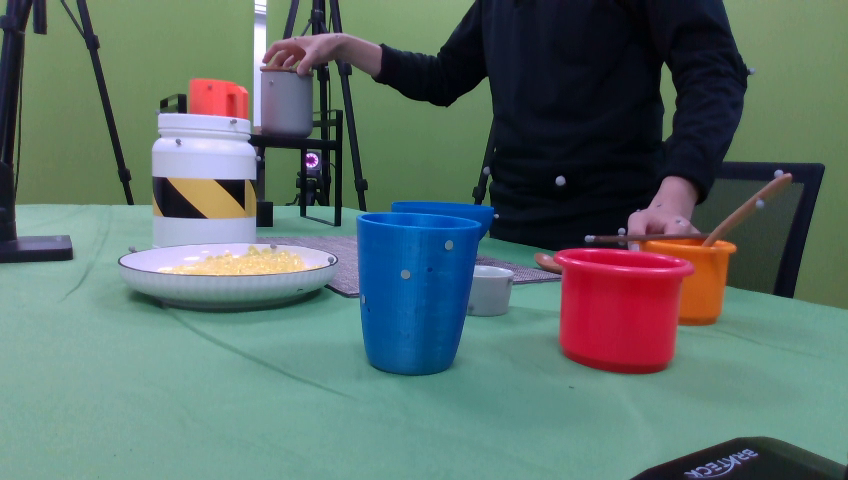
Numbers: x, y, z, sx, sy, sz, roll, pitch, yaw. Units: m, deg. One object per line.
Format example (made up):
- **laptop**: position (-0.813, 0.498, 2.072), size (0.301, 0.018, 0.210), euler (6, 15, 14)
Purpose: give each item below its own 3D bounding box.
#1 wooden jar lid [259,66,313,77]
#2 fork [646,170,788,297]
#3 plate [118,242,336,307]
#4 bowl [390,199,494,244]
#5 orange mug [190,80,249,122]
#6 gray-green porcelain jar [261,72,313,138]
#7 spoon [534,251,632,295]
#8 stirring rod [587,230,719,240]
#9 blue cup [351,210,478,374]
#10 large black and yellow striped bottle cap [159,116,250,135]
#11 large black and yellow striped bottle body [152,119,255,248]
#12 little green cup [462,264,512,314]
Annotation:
- **wooden jar lid**: position (-0.283, -0.339, 1.244), size (0.108, 0.020, 0.108), euler (5, 8, 0)
- **fork**: position (0.256, 0.004, 0.543), size (0.028, 0.018, 0.207), euler (3, -36, -9)
- **plate**: position (-0.194, 0.033, 0.615), size (0.209, 0.038, 0.209), euler (2, 7, 0)
- **bowl**: position (0.024, -0.015, 0.872), size (0.151, 0.077, 0.151), euler (3, 7, 0)
- **orange mug**: position (-0.393, -0.257, 1.173), size (0.126, 0.100, 0.084), euler (1, 6, 25)
- **gray-green porcelain jar**: position (-0.284, -0.276, 1.253), size (0.106, 0.126, 0.106), euler (2, 8, 0)
- **spoon**: position (0.194, 0.038, 0.753), size (0.042, 0.021, 0.193), euler (14, 2, -20)
- **stirring rod**: position (0.226, -0.005, 0.587), size (0.177, 0.006, 0.014), euler (-2, 10, -29)
- **blue cup**: position (-0.009, 0.034, 0.414), size (0.093, 0.100, 0.092), euler (4, 8, 0)
- **large black and yellow striped bottle cap**: position (-0.292, -0.153, 0.810), size (0.115, 0.019, 0.115), euler (3, 8, 0)
- **large black and yellow striped bottle body**: position (-0.296, -0.070, 0.819), size (0.131, 0.184, 0.130), euler (2, 7, 0)
- **little green cup**: position (0.053, 0.047, 0.580), size (0.061, 0.038, 0.061), euler (3, 8, 0)
